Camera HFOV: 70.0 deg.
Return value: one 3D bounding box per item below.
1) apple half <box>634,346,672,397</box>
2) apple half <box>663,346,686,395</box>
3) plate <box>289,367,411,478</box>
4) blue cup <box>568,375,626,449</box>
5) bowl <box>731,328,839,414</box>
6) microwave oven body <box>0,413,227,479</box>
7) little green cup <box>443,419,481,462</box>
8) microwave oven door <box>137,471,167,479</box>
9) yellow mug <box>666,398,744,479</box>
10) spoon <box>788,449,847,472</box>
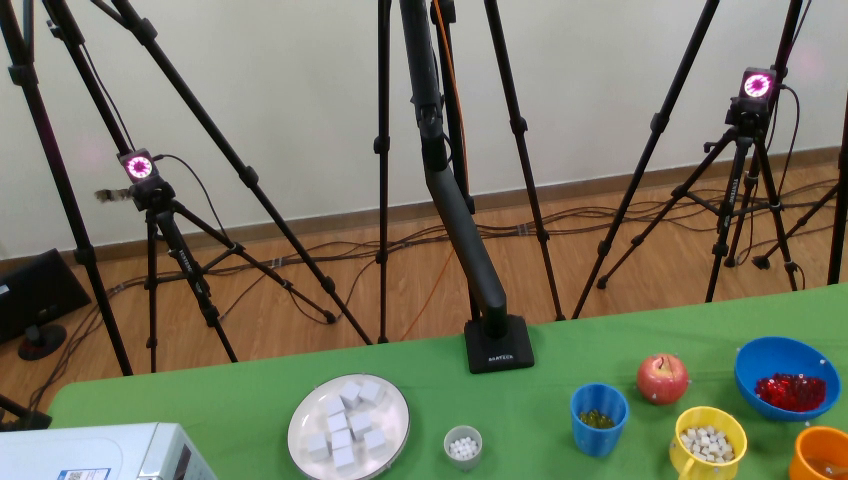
[{"bbox_3d":[0.379,0.221,1.012,0.053,0.075,0.080,-6,45,9],"label":"apple half"},{"bbox_3d":[0.417,0.218,1.007,0.033,0.082,0.080,-6,41,9],"label":"apple half"},{"bbox_3d":[-0.123,0.310,1.030,0.207,0.039,0.205,-5,41,5],"label":"plate"},{"bbox_3d":[0.267,0.276,0.949,0.092,0.101,0.091,-4,43,4],"label":"blue cup"},{"bbox_3d":[0.567,0.223,0.972,0.151,0.077,0.150,-5,42,5],"label":"bowl"},{"bbox_3d":[-0.467,0.474,0.733,0.326,0.263,0.437,-5,42,4],"label":"microwave oven body"},{"bbox_3d":[0.063,0.326,0.978,0.061,0.039,0.061,-5,41,5],"label":"little green cup"},{"bbox_3d":[-0.323,0.484,0.687,0.039,0.246,0.352,-5,42,5],"label":"microwave oven door"},{"bbox_3d":[0.414,0.309,0.913,0.131,0.064,0.099,-38,49,-27],"label":"yellow mug"},{"bbox_3d":[0.590,0.306,0.821,0.041,0.193,0.021,-38,93,-28],"label":"spoon"}]
